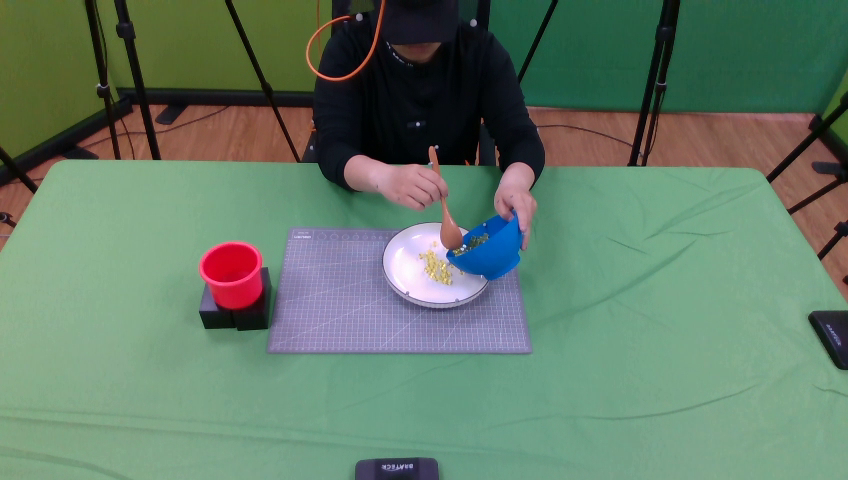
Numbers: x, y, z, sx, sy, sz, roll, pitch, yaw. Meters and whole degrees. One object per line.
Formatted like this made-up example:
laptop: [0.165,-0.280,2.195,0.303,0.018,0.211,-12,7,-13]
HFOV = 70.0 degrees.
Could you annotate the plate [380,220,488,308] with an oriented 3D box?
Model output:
plate: [0.022,0.048,1.138,0.208,0.039,0.206,2,46,-2]

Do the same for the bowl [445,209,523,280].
bowl: [0.121,0.018,1.076,0.151,0.151,0.077,-41,102,-34]

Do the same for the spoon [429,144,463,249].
spoon: [0.033,-0.074,1.072,0.041,0.194,0.021,-12,12,10]
